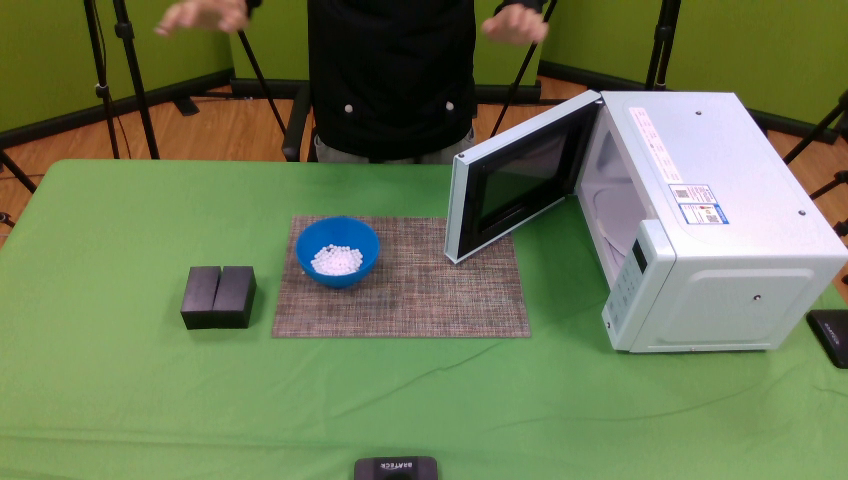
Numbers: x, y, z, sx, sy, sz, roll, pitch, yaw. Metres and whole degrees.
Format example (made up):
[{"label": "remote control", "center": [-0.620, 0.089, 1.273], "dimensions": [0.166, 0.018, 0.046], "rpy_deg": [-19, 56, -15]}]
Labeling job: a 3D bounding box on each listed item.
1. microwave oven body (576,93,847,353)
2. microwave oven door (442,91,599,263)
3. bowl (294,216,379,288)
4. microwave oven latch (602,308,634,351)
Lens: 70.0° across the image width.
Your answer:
[{"label": "microwave oven body", "center": [0.475, -0.041, 1.109], "dimensions": [0.326, 0.261, 0.438], "rpy_deg": [-1, 45, -4]}, {"label": "microwave oven door", "center": [0.187, -0.123, 1.160], "dimensions": [0.356, 0.245, 0.039], "rpy_deg": [-29, 55, -28]}, {"label": "bowl", "center": [-0.158, 0.036, 1.110], "dimensions": [0.151, 0.077, 0.150], "rpy_deg": [2, 46, -2]}, {"label": "microwave oven latch", "center": [0.332, 0.153, 1.044], "dimensions": [0.030, 0.029, 0.078], "rpy_deg": [-1, 45, -4]}]
